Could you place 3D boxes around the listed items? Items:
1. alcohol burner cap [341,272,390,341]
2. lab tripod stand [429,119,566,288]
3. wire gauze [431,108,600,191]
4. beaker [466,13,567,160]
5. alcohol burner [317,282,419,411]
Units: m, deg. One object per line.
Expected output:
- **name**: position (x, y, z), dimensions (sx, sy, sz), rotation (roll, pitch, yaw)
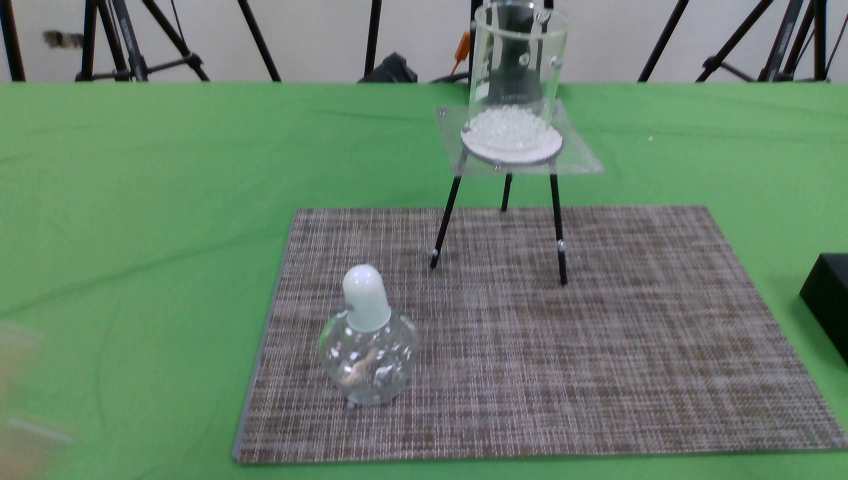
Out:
- **alcohol burner cap**: position (-0.044, 0.044, 0.428), dimensions (0.034, 0.048, 0.033), rotation (-4, 37, 3)
- **lab tripod stand**: position (0.078, -0.033, 0.567), dimensions (0.148, 0.132, 0.147), rotation (2, 39, -1)
- **wire gauze**: position (0.074, -0.081, 0.522), dimensions (0.125, 0.011, 0.120), rotation (-1, 41, -8)
- **beaker**: position (0.073, -0.125, 0.497), dimensions (0.073, 0.101, 0.084), rotation (23, 43, 23)
- **alcohol burner**: position (-0.042, 0.072, 0.451), dimensions (0.078, 0.120, 0.077), rotation (1, 41, -1)
